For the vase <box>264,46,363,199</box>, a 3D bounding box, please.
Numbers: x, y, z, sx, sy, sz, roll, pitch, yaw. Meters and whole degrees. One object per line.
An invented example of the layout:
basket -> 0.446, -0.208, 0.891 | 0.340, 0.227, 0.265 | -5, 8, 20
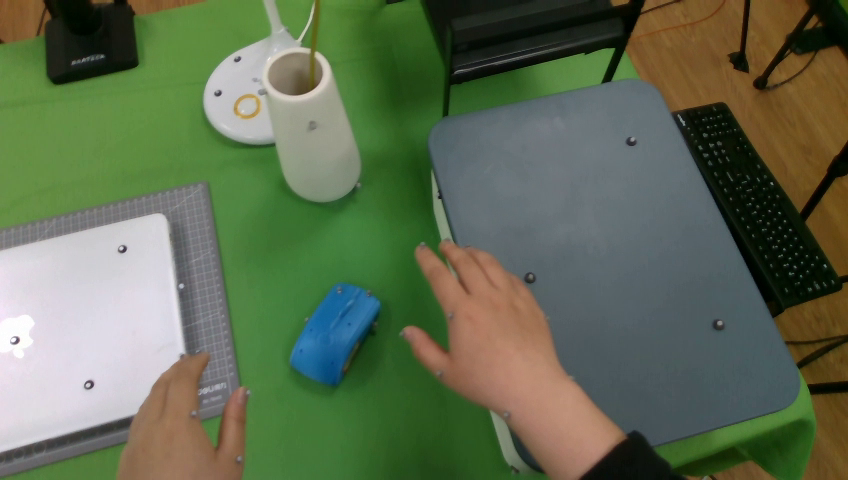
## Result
vase -> -0.128, -0.130, 0.700 | 0.098, 0.201, 0.097 | 0, 64, 1

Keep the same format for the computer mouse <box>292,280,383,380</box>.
computer mouse -> -0.098, 0.098, 0.686 | 0.062, 0.041, 0.116 | 23, 63, 13

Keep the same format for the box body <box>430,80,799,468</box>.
box body -> 0.168, 0.037, 0.650 | 0.254, 0.161, 0.361 | -13, 66, -6

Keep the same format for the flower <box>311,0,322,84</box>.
flower -> -0.114, -0.176, 0.631 | 0.038, 0.364, 0.043 | -21, 57, -29

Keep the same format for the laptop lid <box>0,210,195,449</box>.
laptop lid -> -0.447, 0.107, 0.673 | 0.357, 0.013, 0.239 | -13, 69, -7

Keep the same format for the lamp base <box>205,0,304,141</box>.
lamp base -> -0.212, -0.247, 0.762 | 0.160, 0.181, 0.178 | 17, 64, 7

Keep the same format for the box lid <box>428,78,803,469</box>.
box lid -> 0.167, 0.004, 0.583 | 0.263, 0.015, 0.368 | -12, 66, -7

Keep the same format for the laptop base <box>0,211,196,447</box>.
laptop base -> -0.448, 0.109, 0.685 | 0.355, 0.023, 0.233 | -15, 70, -8
